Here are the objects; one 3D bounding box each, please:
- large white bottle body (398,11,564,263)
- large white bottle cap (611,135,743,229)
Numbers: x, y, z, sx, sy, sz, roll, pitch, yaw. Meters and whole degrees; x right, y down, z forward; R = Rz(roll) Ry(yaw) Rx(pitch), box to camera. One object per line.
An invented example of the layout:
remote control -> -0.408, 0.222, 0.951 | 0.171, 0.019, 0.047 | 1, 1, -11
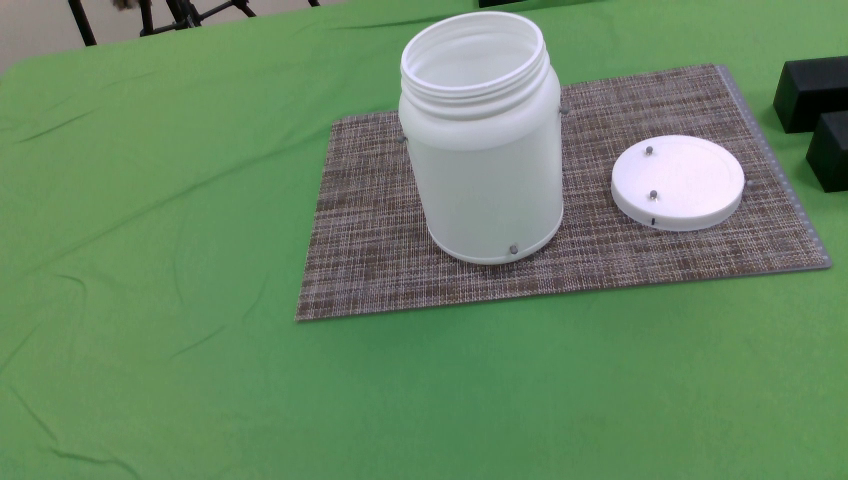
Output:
large white bottle body -> 0.052, -0.084, 0.520 | 0.130, 0.186, 0.129 | -7, 47, 8
large white bottle cap -> 0.234, -0.057, 0.566 | 0.115, 0.018, 0.113 | -7, 47, 8
